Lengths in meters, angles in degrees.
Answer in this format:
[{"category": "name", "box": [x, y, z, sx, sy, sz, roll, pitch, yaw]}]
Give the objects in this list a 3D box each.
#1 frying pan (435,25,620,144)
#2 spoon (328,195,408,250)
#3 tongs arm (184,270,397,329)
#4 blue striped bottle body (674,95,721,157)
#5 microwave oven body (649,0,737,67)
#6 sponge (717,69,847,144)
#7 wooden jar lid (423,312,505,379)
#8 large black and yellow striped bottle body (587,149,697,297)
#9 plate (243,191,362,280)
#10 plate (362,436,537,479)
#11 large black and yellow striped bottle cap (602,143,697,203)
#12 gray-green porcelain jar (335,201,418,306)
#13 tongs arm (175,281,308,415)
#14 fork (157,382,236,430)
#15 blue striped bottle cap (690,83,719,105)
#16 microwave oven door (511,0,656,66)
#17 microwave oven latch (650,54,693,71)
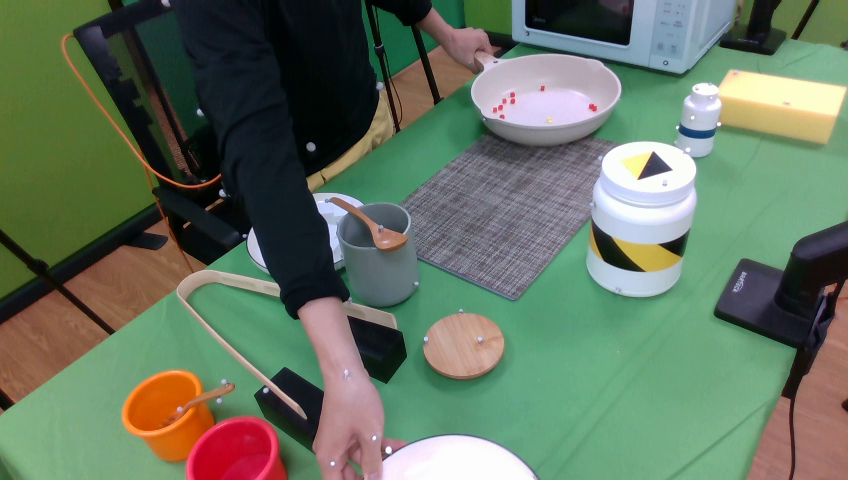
[{"category": "frying pan", "box": [0.180, -0.347, 1.271, 0.308, 0.103, 0.484, -28, 55, -23]}, {"category": "spoon", "box": [-0.083, -0.030, 0.829, 0.042, 0.022, 0.192, -30, 42, -22]}, {"category": "tongs arm", "box": [-0.203, 0.086, 0.847, 0.382, 0.026, 0.051, 10, 42, 35]}, {"category": "blue striped bottle body", "box": [0.486, -0.213, 1.072, 0.063, 0.121, 0.063, -4, 41, 4]}, {"category": "microwave oven body", "box": [0.475, -0.602, 1.411, 0.438, 0.261, 0.327, 23, 50, 32]}, {"category": "sponge", "box": [0.663, -0.256, 1.141, 0.205, 0.061, 0.118, 19, 47, 28]}, {"category": "wooden jar lid", "box": [0.053, 0.142, 0.801, 0.108, 0.021, 0.108, -5, 40, 4]}, {"category": "large black and yellow striped bottle body", "box": [0.298, -0.026, 0.835, 0.131, 0.185, 0.130, -4, 41, 4]}, {"category": "plate", "box": [-0.188, -0.005, 0.992, 0.207, 0.039, 0.206, -4, 40, 4]}, {"category": "plate", "box": [0.020, 0.282, 0.556, 0.209, 0.038, 0.208, -7, 40, 7]}, {"category": "large black and yellow striped bottle cap", "box": [0.289, -0.088, 0.778, 0.115, 0.019, 0.114, -5, 39, 4]}, {"category": "gray-green porcelain jar", "box": [-0.064, 0.024, 0.872, 0.106, 0.127, 0.105, -4, 41, 4]}, {"category": "tongs arm", "box": [-0.255, 0.131, 0.798, 0.028, 0.028, 0.384, -40, 39, -24]}, {"category": "fork", "box": [-0.262, 0.189, 0.690, 0.018, 0.206, 0.028, 48, 43, -7]}, {"category": "blue striped bottle cap", "box": [0.481, -0.251, 1.038, 0.044, 0.021, 0.044, -5, 39, 5]}, {"category": "microwave oven door", "box": [0.350, -0.539, 1.348, 0.353, 0.245, 0.039, 24, 50, 31]}, {"category": "microwave oven latch", "box": [0.531, -0.386, 1.301, 0.078, 0.029, 0.030, 26, 51, 33]}]
